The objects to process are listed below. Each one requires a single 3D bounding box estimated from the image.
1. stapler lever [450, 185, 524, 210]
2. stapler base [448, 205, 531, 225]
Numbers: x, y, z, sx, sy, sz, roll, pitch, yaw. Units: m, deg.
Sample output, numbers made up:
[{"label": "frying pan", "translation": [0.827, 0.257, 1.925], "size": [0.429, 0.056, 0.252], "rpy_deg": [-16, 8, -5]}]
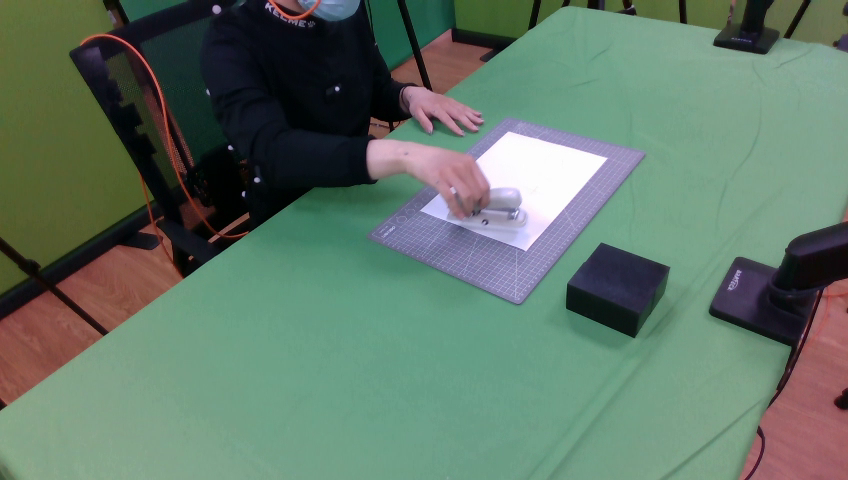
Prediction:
[{"label": "stapler lever", "translation": [0.099, -0.069, 0.955], "size": [0.117, 0.040, 0.027], "rpy_deg": [5, 41, 17]}, {"label": "stapler base", "translation": [0.104, -0.050, 0.971], "size": [0.130, 0.024, 0.041], "rpy_deg": [5, 41, 17]}]
